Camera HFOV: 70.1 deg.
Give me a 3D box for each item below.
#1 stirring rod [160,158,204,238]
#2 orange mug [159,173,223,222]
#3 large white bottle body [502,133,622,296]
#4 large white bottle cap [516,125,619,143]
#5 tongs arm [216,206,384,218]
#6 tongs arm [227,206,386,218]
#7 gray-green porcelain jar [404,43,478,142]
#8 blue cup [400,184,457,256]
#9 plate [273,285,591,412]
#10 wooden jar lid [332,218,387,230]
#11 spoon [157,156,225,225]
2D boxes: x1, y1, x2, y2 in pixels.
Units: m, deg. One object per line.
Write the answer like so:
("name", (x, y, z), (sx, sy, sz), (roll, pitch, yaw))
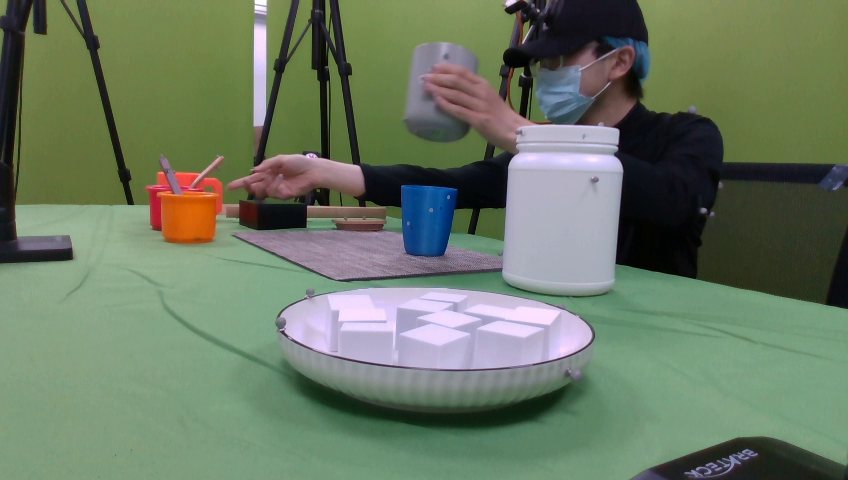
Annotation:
("stirring rod", (-0.390, -0.070, 0.972), (0.014, 0.006, 0.175), (-1, 49, -49))
("orange mug", (-0.477, -0.089, 1.241), (0.127, 0.101, 0.083), (-8, 11, -33))
("large white bottle body", (0.160, -0.037, 0.706), (0.131, 0.184, 0.130), (2, 7, 0))
("large white bottle cap", (0.164, -0.120, 0.695), (0.115, 0.018, 0.115), (2, 7, 0))
("tongs arm", (-0.288, -0.067, 1.435), (0.389, 0.027, 0.028), (-1, -2, -17))
("tongs arm", (-0.251, -0.063, 1.360), (0.387, 0.026, 0.050), (-2, 2, -31))
("gray-green porcelain jar", (0.025, -0.224, 0.937), (0.106, 0.126, 0.106), (7, -7, 1))
("blue cup", (0.004, -0.030, 0.901), (0.093, 0.100, 0.092), (4, 8, 0))
("plate", (0.005, 0.069, 0.408), (0.208, 0.039, 0.207), (2, 7, 0))
("wooden jar lid", (-0.129, -0.032, 1.204), (0.108, 0.020, 0.108), (0, 5, 0))
("spoon", (-0.425, -0.094, 1.117), (0.041, 0.022, 0.194), (4, 51, 29))
